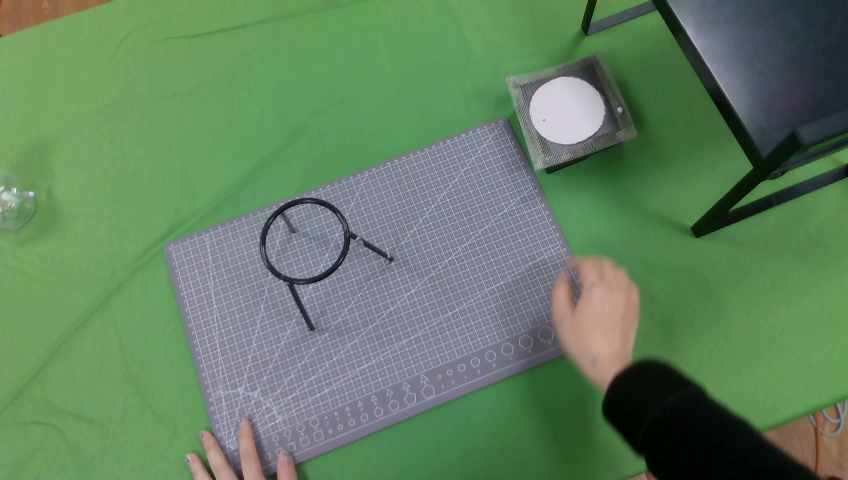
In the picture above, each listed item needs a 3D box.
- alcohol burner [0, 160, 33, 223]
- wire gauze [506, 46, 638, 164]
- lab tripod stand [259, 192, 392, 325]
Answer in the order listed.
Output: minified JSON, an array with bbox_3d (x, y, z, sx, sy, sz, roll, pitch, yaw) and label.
[{"bbox_3d":[-0.520,-0.064,0.708,0.078,0.120,0.077,-1,74,2],"label":"alcohol burner"},{"bbox_3d":[0.169,-0.159,0.700,0.121,0.011,0.124,-16,73,0],"label":"wire gauze"},{"bbox_3d":[-0.116,0.011,0.651,0.148,0.132,0.147,-1,74,5],"label":"lab tripod stand"}]
